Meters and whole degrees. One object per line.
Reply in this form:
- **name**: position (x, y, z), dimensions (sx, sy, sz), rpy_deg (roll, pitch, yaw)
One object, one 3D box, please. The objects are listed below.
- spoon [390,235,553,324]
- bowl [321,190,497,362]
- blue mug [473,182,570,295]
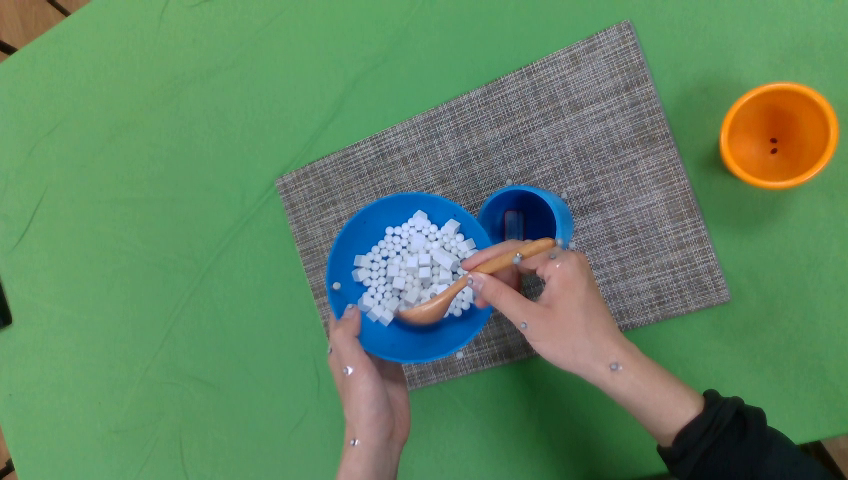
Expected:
- **spoon**: position (0.031, 0.034, 0.487), dimensions (0.194, 0.042, 0.021), rpy_deg (-39, 48, 45)
- **bowl**: position (-0.012, 0.037, 0.553), dimensions (0.151, 0.077, 0.150), rpy_deg (0, 78, -1)
- **blue mug**: position (0.096, 0.000, 0.615), dimensions (0.082, 0.106, 0.117), rpy_deg (20, 100, 17)
